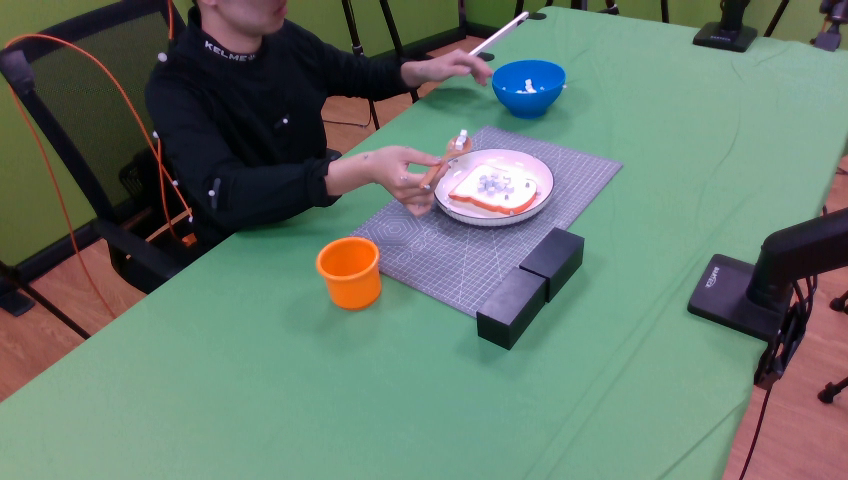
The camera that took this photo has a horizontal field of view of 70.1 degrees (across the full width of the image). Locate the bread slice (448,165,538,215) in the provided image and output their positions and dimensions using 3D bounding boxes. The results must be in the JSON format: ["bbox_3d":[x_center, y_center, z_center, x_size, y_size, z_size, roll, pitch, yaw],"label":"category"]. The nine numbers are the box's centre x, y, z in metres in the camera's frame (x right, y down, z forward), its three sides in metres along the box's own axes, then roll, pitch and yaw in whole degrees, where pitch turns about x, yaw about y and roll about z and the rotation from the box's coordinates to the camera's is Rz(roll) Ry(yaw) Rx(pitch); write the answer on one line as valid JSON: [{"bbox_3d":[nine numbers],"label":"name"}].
[{"bbox_3d":[0.126,-0.085,1.037,0.133,0.018,0.107,17,45,27],"label":"bread slice"}]

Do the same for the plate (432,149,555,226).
[{"bbox_3d":[0.120,-0.087,1.037,0.209,0.038,0.208,-4,40,4],"label":"plate"}]

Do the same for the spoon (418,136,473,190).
[{"bbox_3d":[0.031,-0.122,0.940,0.041,0.022,0.194,16,32,17],"label":"spoon"}]

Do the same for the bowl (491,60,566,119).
[{"bbox_3d":[0.214,-0.302,1.248,0.151,0.077,0.150,-4,40,4],"label":"bowl"}]
